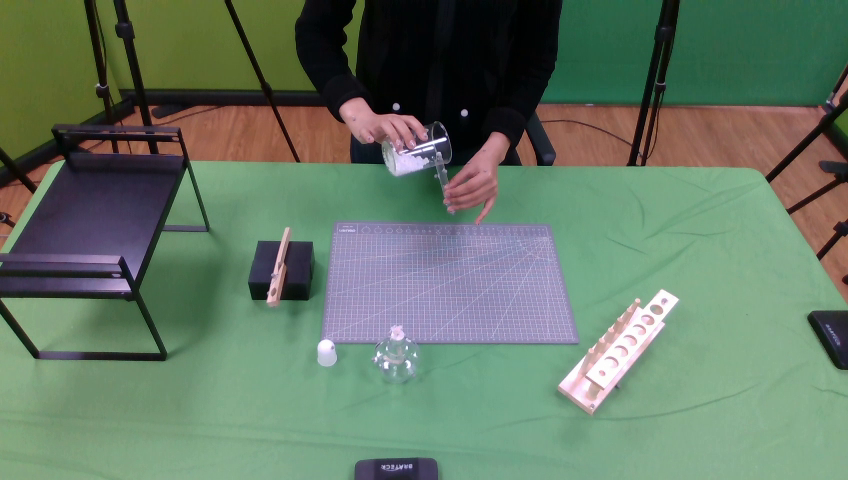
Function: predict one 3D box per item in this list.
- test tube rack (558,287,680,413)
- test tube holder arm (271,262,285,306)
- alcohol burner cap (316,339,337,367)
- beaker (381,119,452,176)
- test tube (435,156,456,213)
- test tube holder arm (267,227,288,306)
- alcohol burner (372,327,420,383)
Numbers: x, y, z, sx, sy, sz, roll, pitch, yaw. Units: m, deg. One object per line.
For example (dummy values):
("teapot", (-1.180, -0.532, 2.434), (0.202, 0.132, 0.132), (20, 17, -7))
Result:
("test tube rack", (0.326, 0.170, 1.009), (0.066, 0.085, 0.242), (36, 54, 26))
("test tube holder arm", (-0.250, 0.075, 1.039), (0.010, 0.015, 0.087), (-5, 46, 2))
("alcohol burner cap", (-0.161, 0.182, 0.995), (0.034, 0.048, 0.033), (2, 47, -1))
("beaker", (-0.015, -0.150, 1.008), (0.100, 0.084, 0.073), (-19, 55, -17))
("test tube", (0.040, -0.098, 1.111), (0.017, 0.151, 0.017), (-6, 55, 9))
("test tube holder arm", (-0.258, 0.043, 1.071), (0.013, 0.015, 0.177), (-6, 46, 2))
("alcohol burner", (-0.044, 0.175, 0.961), (0.078, 0.120, 0.077), (1, 47, -1))
